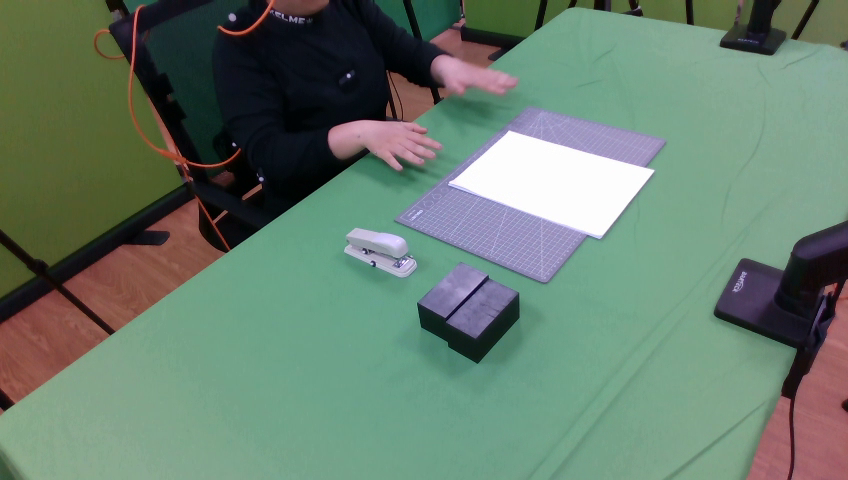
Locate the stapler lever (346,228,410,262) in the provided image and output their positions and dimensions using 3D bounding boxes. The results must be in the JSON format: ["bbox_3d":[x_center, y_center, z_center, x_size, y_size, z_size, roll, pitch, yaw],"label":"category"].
[{"bbox_3d":[-0.074,0.002,0.949,0.117,0.040,0.027,20,46,30],"label":"stapler lever"}]

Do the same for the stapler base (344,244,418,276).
[{"bbox_3d":[-0.070,0.020,0.964,0.129,0.024,0.041,19,45,31],"label":"stapler base"}]
